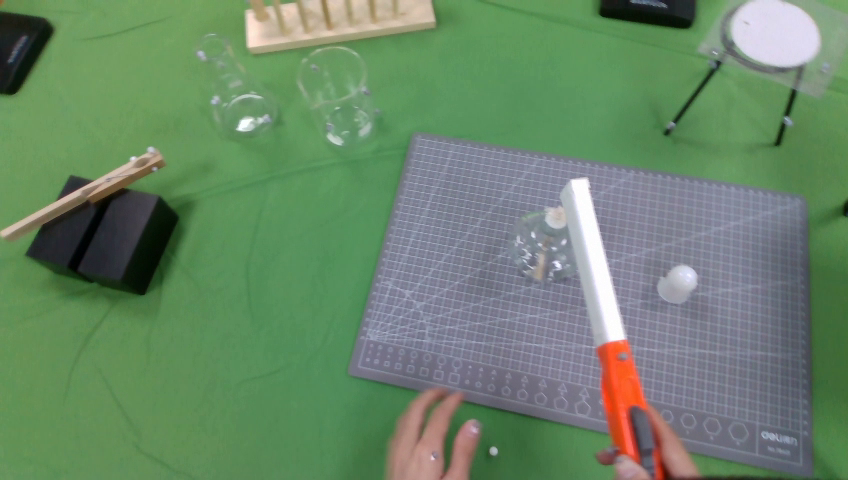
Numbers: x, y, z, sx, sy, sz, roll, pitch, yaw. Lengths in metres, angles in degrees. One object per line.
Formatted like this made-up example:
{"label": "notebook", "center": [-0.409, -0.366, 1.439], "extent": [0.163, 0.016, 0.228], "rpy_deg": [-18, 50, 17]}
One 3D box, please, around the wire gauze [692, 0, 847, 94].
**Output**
{"label": "wire gauze", "center": [0.349, -0.210, 0.602], "extent": [0.121, 0.011, 0.125], "rpy_deg": [31, 72, 13]}

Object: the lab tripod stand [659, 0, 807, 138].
{"label": "lab tripod stand", "center": [0.345, -0.183, 0.664], "extent": [0.148, 0.132, 0.147], "rpy_deg": [0, 66, 1]}

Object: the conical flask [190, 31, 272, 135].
{"label": "conical flask", "center": [-0.226, -0.182, 0.693], "extent": [0.075, 0.123, 0.075], "rpy_deg": [-1, 66, 3]}

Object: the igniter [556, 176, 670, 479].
{"label": "igniter", "center": [0.139, 0.085, 0.444], "extent": [0.025, 0.057, 0.274], "rpy_deg": [-8, 73, -7]}

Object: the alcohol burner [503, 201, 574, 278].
{"label": "alcohol burner", "center": [0.120, -0.006, 0.605], "extent": [0.078, 0.120, 0.077], "rpy_deg": [0, 66, 0]}

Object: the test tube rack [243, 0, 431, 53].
{"label": "test tube rack", "center": [-0.117, -0.308, 0.763], "extent": [0.242, 0.086, 0.066], "rpy_deg": [-9, 66, -2]}

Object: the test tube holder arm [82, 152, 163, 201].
{"label": "test tube holder arm", "center": [-0.326, -0.068, 0.653], "extent": [0.088, 0.015, 0.010], "rpy_deg": [-30, 69, -11]}

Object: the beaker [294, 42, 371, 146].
{"label": "beaker", "center": [-0.102, -0.159, 0.691], "extent": [0.073, 0.101, 0.083], "rpy_deg": [25, 71, 13]}

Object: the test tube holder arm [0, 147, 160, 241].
{"label": "test tube holder arm", "center": [-0.367, -0.050, 0.646], "extent": [0.178, 0.015, 0.013], "rpy_deg": [-31, 69, -11]}

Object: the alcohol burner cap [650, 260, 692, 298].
{"label": "alcohol burner cap", "center": [0.255, 0.037, 0.620], "extent": [0.034, 0.048, 0.033], "rpy_deg": [-1, 67, 2]}

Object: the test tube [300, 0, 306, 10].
{"label": "test tube", "center": [-0.160, -0.339, 0.724], "extent": [0.017, 0.151, 0.017], "rpy_deg": [0, 60, 0]}
